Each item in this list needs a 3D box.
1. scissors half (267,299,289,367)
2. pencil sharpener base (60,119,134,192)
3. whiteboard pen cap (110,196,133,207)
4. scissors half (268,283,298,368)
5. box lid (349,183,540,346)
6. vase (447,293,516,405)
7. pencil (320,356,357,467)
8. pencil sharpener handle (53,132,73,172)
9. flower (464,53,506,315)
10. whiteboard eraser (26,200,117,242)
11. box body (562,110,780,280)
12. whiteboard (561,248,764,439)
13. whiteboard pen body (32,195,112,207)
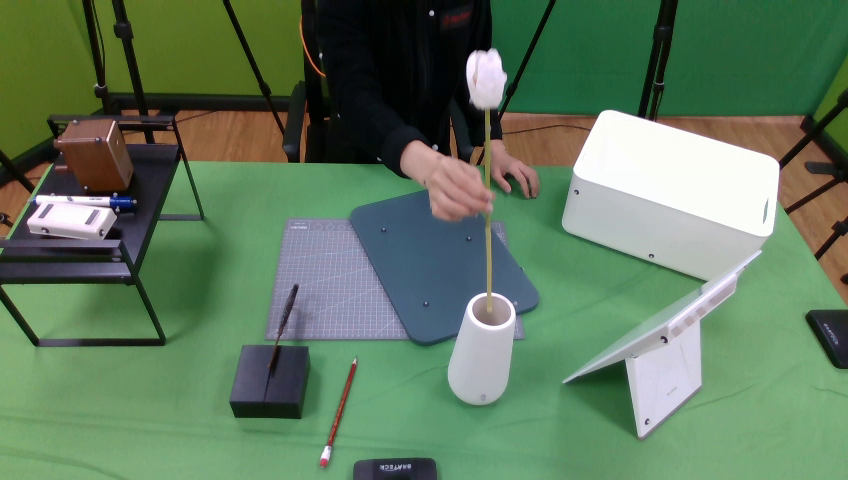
[{"bbox_3d":[-0.238,0.150,0.997,0.013,0.040,0.174,23,24,-13],"label":"scissors half"},{"bbox_3d":[-0.528,-0.135,0.979,0.077,0.107,0.061,-4,47,-7],"label":"pencil sharpener base"},{"bbox_3d":[-0.486,-0.061,0.972,0.033,0.018,0.018,0,47,-9],"label":"whiteboard pen cap"},{"bbox_3d":[-0.230,0.135,0.986,0.013,0.040,0.174,19,43,-10],"label":"scissors half"},{"bbox_3d":[0.030,0.031,1.176,0.263,0.015,0.369,-16,49,-18],"label":"box lid"},{"bbox_3d":[0.091,0.169,0.921,0.098,0.201,0.097,3,47,-3],"label":"vase"},{"bbox_3d":[-0.130,0.261,0.946,0.012,0.012,0.193,10,45,5],"label":"pencil"},{"bbox_3d":[-0.578,-0.138,0.961,0.031,0.068,0.036,-4,34,-7],"label":"pencil sharpener handle"},{"bbox_3d":[0.079,-0.047,0.737,0.038,0.363,0.044,-31,41,-31],"label":"flower"},{"bbox_3d":[-0.532,-0.026,0.919,0.113,0.042,0.055,7,45,3],"label":"whiteboard eraser"},{"bbox_3d":[0.486,-0.089,1.222,0.363,0.161,0.253,20,48,15],"label":"box body"},{"bbox_3d":[0.386,0.176,0.905,0.217,0.306,0.143,-26,72,-27],"label":"whiteboard"},{"bbox_3d":[-0.543,-0.061,0.961,0.141,0.017,0.017,1,46,-10],"label":"whiteboard pen body"}]
